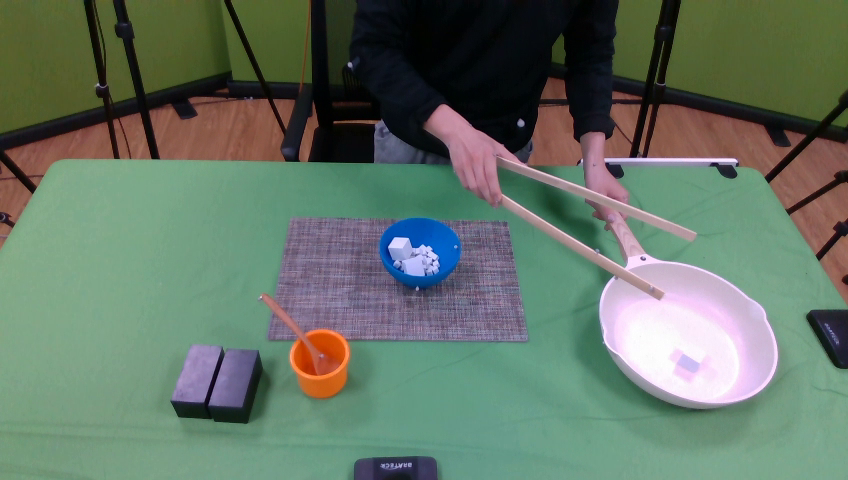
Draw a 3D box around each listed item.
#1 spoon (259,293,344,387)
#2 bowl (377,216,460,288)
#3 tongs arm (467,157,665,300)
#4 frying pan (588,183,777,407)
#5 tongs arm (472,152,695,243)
[{"bbox_3d":[-0.191,0.155,0.947,0.021,0.194,0.041,-13,27,50],"label":"spoon"},{"bbox_3d":[-0.012,0.035,1.118,0.151,0.077,0.150,2,46,-2],"label":"bowl"},{"bbox_3d":[0.222,-0.026,0.990,0.383,0.026,0.050,32,65,19],"label":"tongs arm"},{"bbox_3d":[0.412,0.079,1.097,0.307,0.103,0.484,-9,56,-14],"label":"frying pan"},{"bbox_3d":[0.261,-0.075,1.021,0.386,0.028,0.028,23,65,14],"label":"tongs arm"}]
